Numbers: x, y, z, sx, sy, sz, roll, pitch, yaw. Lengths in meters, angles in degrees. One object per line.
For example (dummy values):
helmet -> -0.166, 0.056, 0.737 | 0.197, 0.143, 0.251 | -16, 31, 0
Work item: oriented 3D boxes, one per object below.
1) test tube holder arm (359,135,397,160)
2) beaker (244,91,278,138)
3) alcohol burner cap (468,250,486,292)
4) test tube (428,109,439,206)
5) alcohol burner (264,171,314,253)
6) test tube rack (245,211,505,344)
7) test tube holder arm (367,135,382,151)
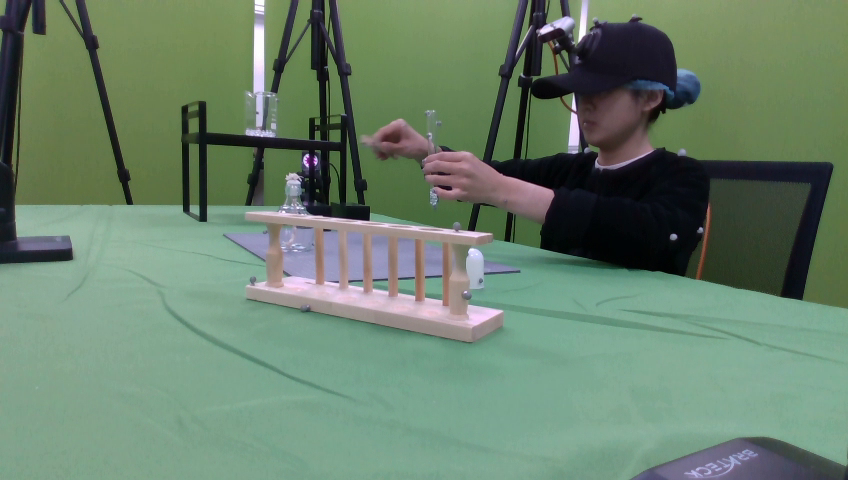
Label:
test tube holder arm -> -0.083, -0.170, 1.122 | 0.013, 0.015, 0.179 | 4, -1, 15
beaker -> -0.368, -0.280, 1.356 | 0.074, 0.100, 0.084 | 4, 8, 6
alcohol burner cap -> 0.056, 0.035, 0.690 | 0.034, 0.048, 0.034 | 2, 7, 0
test tube -> 0.015, -0.128, 0.949 | 0.017, 0.150, 0.017 | -1, 13, 1
alcohol burner -> -0.194, -0.042, 0.888 | 0.078, 0.119, 0.078 | 3, 5, 0
test tube rack -> -0.049, 0.025, 0.547 | 0.241, 0.085, 0.067 | 7, 8, 29
test tube holder arm -> -0.087, -0.171, 1.077 | 0.010, 0.015, 0.088 | 3, -1, 7
